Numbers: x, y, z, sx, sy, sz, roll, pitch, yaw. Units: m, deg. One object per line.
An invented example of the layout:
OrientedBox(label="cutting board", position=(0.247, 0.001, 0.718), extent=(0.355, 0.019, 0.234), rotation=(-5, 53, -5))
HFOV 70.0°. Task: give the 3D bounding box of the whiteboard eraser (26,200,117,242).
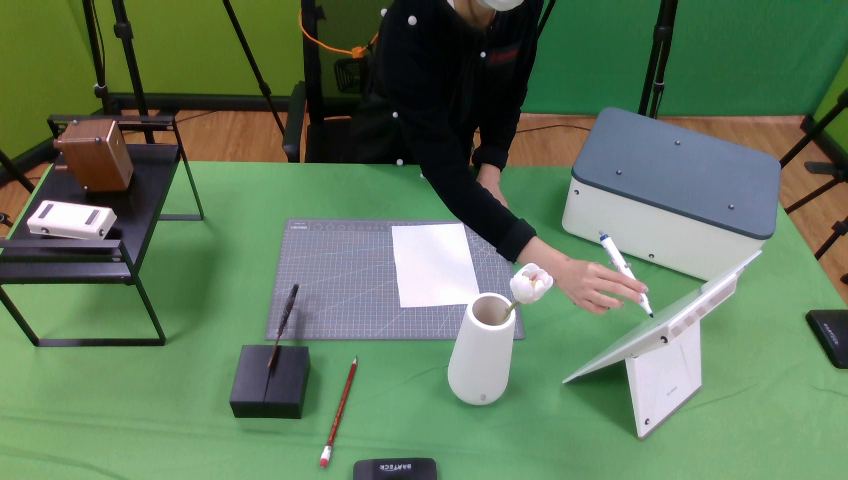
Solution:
OrientedBox(label="whiteboard eraser", position=(-0.532, -0.026, 0.919), extent=(0.113, 0.042, 0.055), rotation=(7, 45, 3))

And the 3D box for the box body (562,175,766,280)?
OrientedBox(label="box body", position=(0.486, -0.088, 1.222), extent=(0.363, 0.161, 0.253), rotation=(20, 48, 15))

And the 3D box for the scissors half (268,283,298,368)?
OrientedBox(label="scissors half", position=(-0.230, 0.135, 0.986), extent=(0.013, 0.040, 0.174), rotation=(19, 43, -11))

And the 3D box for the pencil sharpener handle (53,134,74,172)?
OrientedBox(label="pencil sharpener handle", position=(-0.577, -0.138, 0.961), extent=(0.031, 0.068, 0.036), rotation=(-4, 34, -7))

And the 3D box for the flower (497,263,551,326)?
OrientedBox(label="flower", position=(0.103, 0.121, 0.852), extent=(0.044, 0.363, 0.038), rotation=(-2, 63, -9))

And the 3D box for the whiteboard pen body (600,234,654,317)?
OrientedBox(label="whiteboard pen body", position=(0.304, 0.053, 0.903), extent=(0.017, 0.017, 0.140), rotation=(-27, 83, -26))

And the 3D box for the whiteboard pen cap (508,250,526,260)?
OrientedBox(label="whiteboard pen cap", position=(0.181, 0.029, 1.185), extent=(0.033, 0.018, 0.018), rotation=(-4, 47, -14))

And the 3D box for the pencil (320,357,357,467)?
OrientedBox(label="pencil", position=(-0.130, 0.261, 0.947), extent=(0.012, 0.012, 0.193), rotation=(10, 45, 5))

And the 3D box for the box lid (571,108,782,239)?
OrientedBox(label="box lid", position=(0.491, -0.139, 1.168), extent=(0.370, 0.015, 0.262), rotation=(21, 49, 15))

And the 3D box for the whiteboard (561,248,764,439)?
OrientedBox(label="whiteboard", position=(0.386, 0.176, 0.905), extent=(0.217, 0.306, 0.143), rotation=(-26, 72, -27))

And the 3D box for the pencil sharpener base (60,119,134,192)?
OrientedBox(label="pencil sharpener base", position=(-0.528, -0.135, 0.979), extent=(0.077, 0.107, 0.061), rotation=(-4, 47, -7))

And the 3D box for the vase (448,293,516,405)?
OrientedBox(label="vase", position=(0.091, 0.169, 0.921), extent=(0.098, 0.201, 0.097), rotation=(3, 47, -3))

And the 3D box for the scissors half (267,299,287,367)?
OrientedBox(label="scissors half", position=(-0.239, 0.150, 0.997), extent=(0.013, 0.040, 0.174), rotation=(24, 24, -13))
